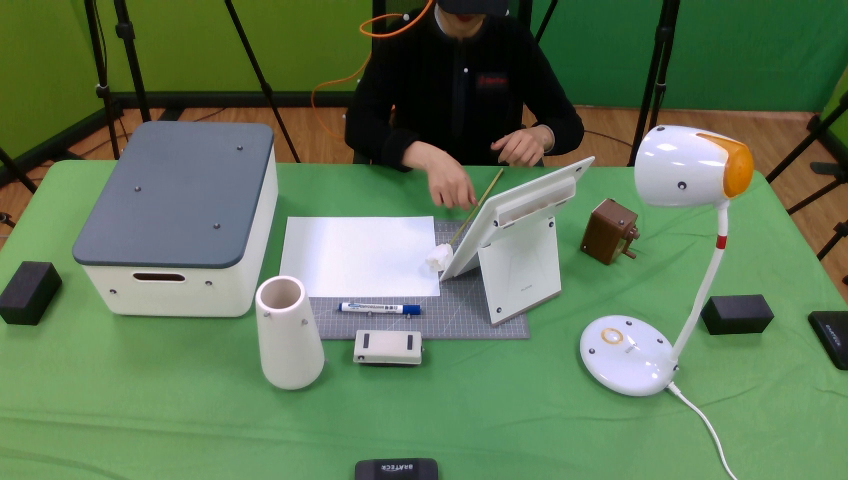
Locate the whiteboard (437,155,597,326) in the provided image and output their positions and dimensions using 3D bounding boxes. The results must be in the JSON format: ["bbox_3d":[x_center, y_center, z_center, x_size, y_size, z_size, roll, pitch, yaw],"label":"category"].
[{"bbox_3d":[0.180,0.023,1.029,0.217,0.306,0.143,-22,71,-23],"label":"whiteboard"}]

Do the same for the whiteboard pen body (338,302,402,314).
[{"bbox_3d":[-0.083,0.121,1.074,0.141,0.017,0.017,3,46,-2],"label":"whiteboard pen body"}]

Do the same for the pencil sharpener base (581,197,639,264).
[{"bbox_3d":[0.362,-0.016,1.178,0.076,0.107,0.061,35,53,26],"label":"pencil sharpener base"}]

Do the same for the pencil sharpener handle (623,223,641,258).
[{"bbox_3d":[0.399,0.002,1.146,0.030,0.068,0.036,35,45,26],"label":"pencil sharpener handle"}]

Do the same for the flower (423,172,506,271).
[{"bbox_3d":[0.099,-0.053,1.259,0.044,0.038,0.361,20,43,22],"label":"flower"}]

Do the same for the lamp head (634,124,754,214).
[{"bbox_3d":[0.351,-0.089,0.776,0.112,0.113,0.122,-30,30,-28],"label":"lamp head"}]

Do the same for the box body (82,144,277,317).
[{"bbox_3d":[-0.422,-0.041,1.108,0.254,0.161,0.361,2,46,-3],"label":"box body"}]

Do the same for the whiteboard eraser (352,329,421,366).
[{"bbox_3d":[-0.061,0.179,1.005,0.113,0.042,0.055,3,48,-3],"label":"whiteboard eraser"}]

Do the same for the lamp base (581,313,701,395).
[{"bbox_3d":[0.361,0.144,0.973,0.178,0.181,0.160,34,53,23],"label":"lamp base"}]

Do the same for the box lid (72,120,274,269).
[{"bbox_3d":[-0.417,-0.094,1.056,0.263,0.015,0.369,1,47,-3],"label":"box lid"}]

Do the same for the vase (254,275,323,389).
[{"bbox_3d":[-0.209,0.143,0.921,0.098,0.201,0.097,1,46,-1],"label":"vase"}]

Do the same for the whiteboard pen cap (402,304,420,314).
[{"bbox_3d":[-0.024,0.123,1.076,0.033,0.018,0.018,1,46,1],"label":"whiteboard pen cap"}]
